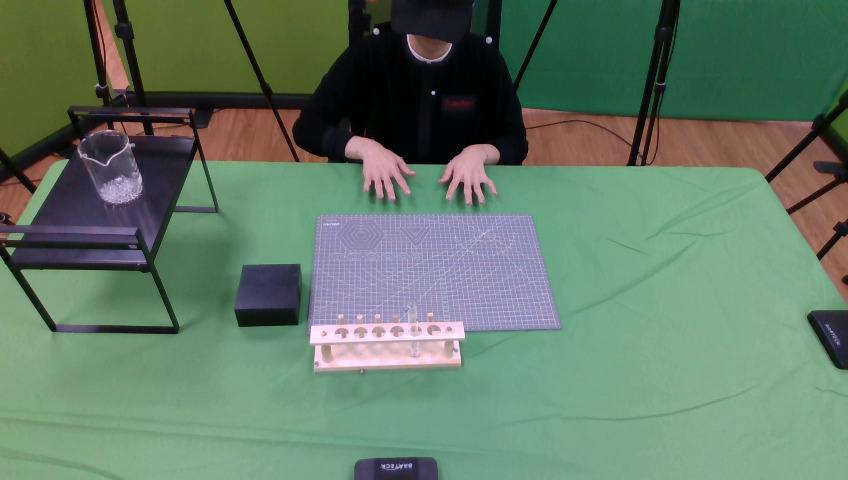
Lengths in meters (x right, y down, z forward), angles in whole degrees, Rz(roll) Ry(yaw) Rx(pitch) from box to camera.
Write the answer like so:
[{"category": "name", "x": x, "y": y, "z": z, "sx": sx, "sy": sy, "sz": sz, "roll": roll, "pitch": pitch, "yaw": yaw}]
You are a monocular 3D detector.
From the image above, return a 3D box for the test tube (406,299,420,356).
[{"category": "test tube", "x": -0.017, "y": 0.140, "z": 0.944, "sx": 0.017, "sy": 0.151, "sz": 0.017, "roll": -1, "pitch": 50, "yaw": 1}]

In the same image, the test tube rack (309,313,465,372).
[{"category": "test tube rack", "x": -0.059, "y": 0.161, "z": 0.990, "sx": 0.242, "sy": 0.085, "sz": 0.066, "roll": -1, "pitch": 46, "yaw": -5}]

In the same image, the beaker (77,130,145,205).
[{"category": "beaker", "x": -0.493, "y": -0.111, "z": 0.965, "sx": 0.074, "sy": 0.101, "sz": 0.083, "roll": -14, "pitch": 49, "yaw": -16}]
